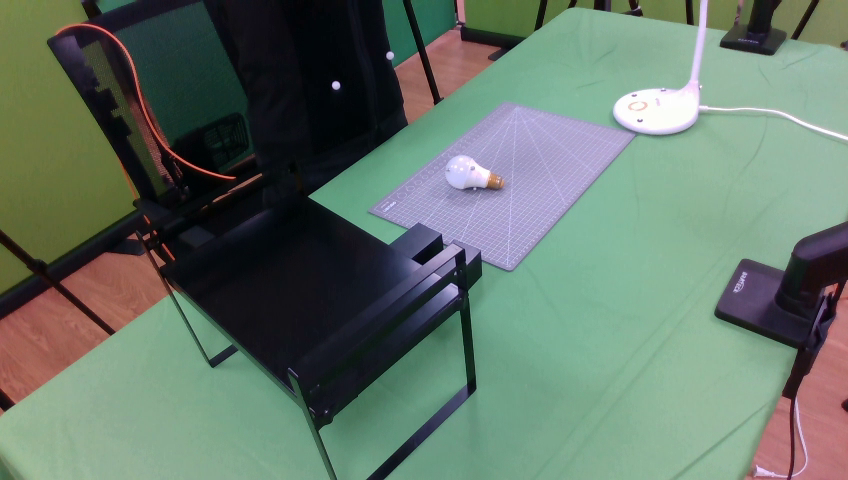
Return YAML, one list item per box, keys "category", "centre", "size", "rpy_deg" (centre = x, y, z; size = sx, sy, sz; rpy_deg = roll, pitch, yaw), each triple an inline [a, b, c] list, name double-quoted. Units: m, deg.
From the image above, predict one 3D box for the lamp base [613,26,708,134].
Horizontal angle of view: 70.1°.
- category: "lamp base"
  centre: [0.463, -0.316, 1.153]
  size: [0.179, 0.181, 0.159]
  rpy_deg: [-5, 41, -1]

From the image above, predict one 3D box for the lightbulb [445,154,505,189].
- category: "lightbulb"
  centre: [0.090, -0.115, 1.071]
  size: [0.107, 0.059, 0.059]
  rpy_deg: [17, 44, 5]
